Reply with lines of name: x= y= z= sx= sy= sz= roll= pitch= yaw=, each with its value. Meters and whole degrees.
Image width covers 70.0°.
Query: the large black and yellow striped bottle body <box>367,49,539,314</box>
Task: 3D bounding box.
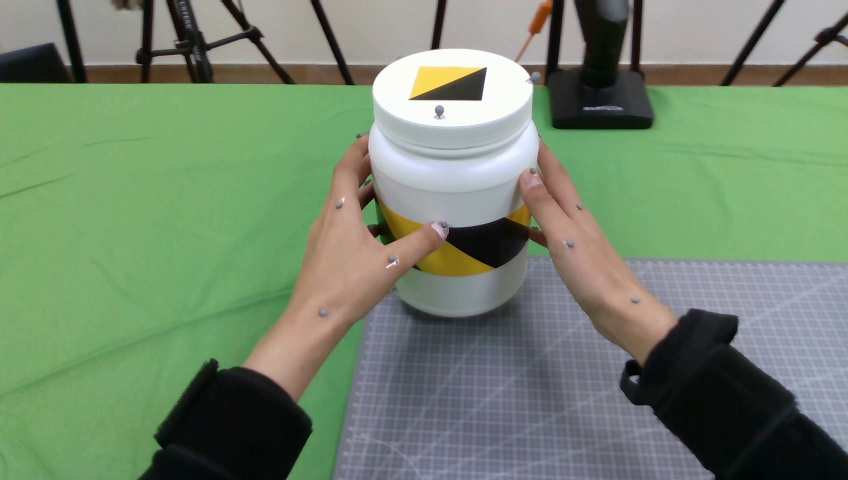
large black and yellow striped bottle body: x=0.023 y=-0.044 z=0.490 sx=0.131 sy=0.185 sz=0.129 roll=-1 pitch=43 yaw=1

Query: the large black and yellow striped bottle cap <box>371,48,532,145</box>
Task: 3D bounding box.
large black and yellow striped bottle cap: x=0.019 y=-0.106 z=0.431 sx=0.115 sy=0.019 sz=0.114 roll=-1 pitch=41 yaw=1
